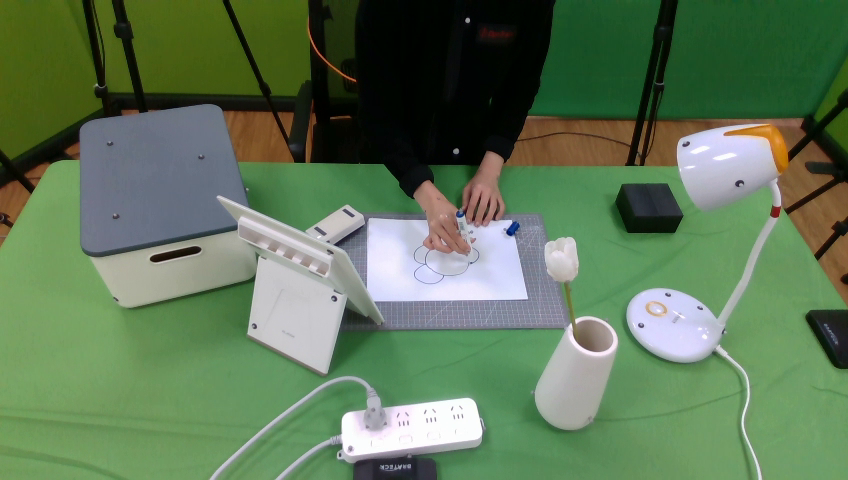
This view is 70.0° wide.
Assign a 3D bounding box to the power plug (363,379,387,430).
[{"bbox_3d":[-0.071,0.252,0.911,0.035,0.053,0.072,3,40,0],"label":"power plug"}]

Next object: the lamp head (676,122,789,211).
[{"bbox_3d":[0.423,-0.104,0.819,0.122,0.113,0.112,-13,33,40],"label":"lamp head"}]

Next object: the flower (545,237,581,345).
[{"bbox_3d":[0.213,0.137,0.846,0.038,0.364,0.044,21,55,40],"label":"flower"}]

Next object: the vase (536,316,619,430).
[{"bbox_3d":[0.229,0.200,0.901,0.098,0.201,0.097,3,46,-3],"label":"vase"}]

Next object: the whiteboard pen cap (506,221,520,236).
[{"bbox_3d":[0.180,-0.023,1.234,0.018,0.018,0.033,27,52,20],"label":"whiteboard pen cap"}]

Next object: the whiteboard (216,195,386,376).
[{"bbox_3d":[-0.212,0.093,0.939,0.216,0.307,0.143,24,70,17],"label":"whiteboard"}]

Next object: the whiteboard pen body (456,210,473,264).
[{"bbox_3d":[0.077,-0.002,1.121,0.017,0.141,0.017,-8,46,9],"label":"whiteboard pen body"}]

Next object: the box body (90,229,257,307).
[{"bbox_3d":[-0.471,-0.070,1.131,0.254,0.161,0.361,-14,49,-17],"label":"box body"}]

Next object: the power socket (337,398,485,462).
[{"bbox_3d":[-0.018,0.285,0.914,0.227,0.033,0.071,-4,46,-8],"label":"power socket"}]

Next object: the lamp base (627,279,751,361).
[{"bbox_3d":[0.460,0.100,1.027,0.178,0.181,0.160,27,51,17],"label":"lamp base"}]

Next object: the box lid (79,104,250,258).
[{"bbox_3d":[-0.467,-0.120,1.075,0.264,0.015,0.369,-13,49,-17],"label":"box lid"}]

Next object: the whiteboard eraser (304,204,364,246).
[{"bbox_3d":[-0.175,-0.022,1.188,0.055,0.042,0.112,36,53,26],"label":"whiteboard eraser"}]
